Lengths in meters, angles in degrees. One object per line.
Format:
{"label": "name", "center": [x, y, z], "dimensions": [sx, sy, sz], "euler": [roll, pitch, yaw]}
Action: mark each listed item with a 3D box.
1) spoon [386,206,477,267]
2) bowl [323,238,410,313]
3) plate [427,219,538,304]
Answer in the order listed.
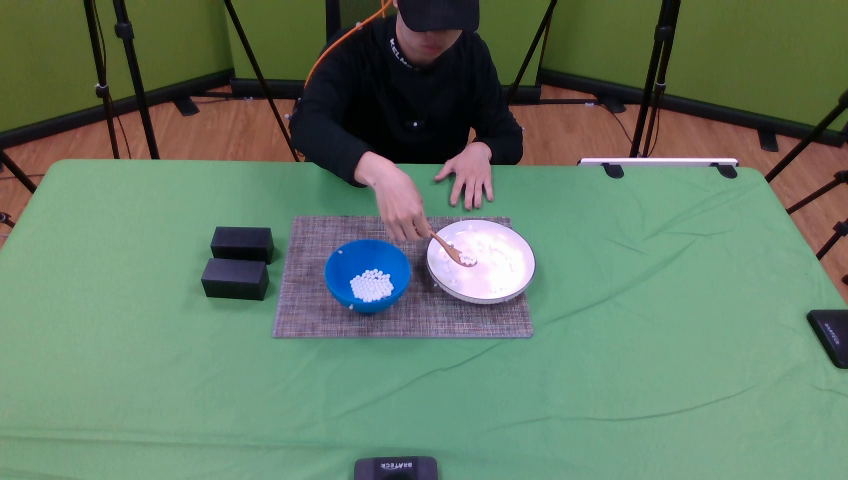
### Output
{"label": "spoon", "center": [0.014, -0.008, 1.096], "dimensions": [0.194, 0.021, 0.041], "euler": [37, 31, -8]}
{"label": "bowl", "center": [-0.101, 0.077, 1.073], "dimensions": [0.151, 0.077, 0.150], "euler": [2, 46, -2]}
{"label": "plate", "center": [0.109, 0.044, 1.149], "dimensions": [0.208, 0.039, 0.206], "euler": [2, 46, -2]}
